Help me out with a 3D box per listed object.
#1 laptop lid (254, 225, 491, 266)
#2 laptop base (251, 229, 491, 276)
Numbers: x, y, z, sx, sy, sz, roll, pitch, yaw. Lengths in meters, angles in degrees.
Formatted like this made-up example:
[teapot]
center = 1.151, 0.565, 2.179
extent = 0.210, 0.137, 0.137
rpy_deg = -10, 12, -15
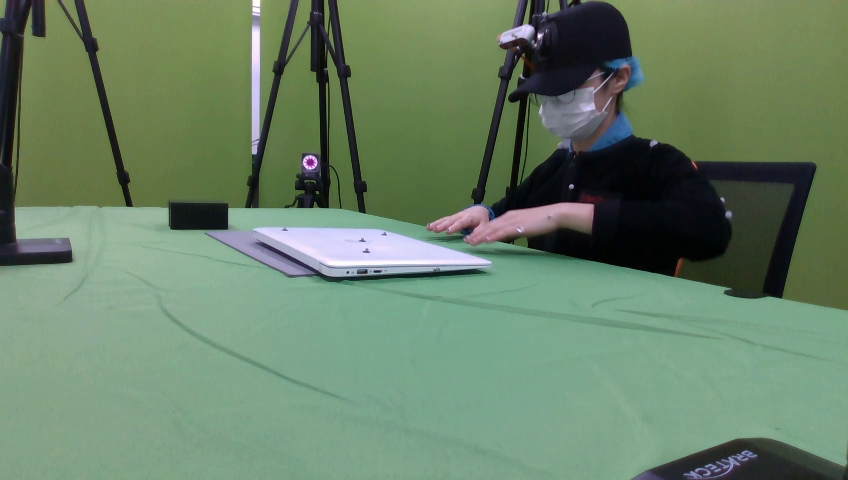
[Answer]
[laptop lid]
center = -0.092, 0.003, 0.888
extent = 0.243, 0.013, 0.355
rpy_deg = 1, 8, -29
[laptop base]
center = -0.095, 0.015, 0.889
extent = 0.237, 0.023, 0.352
rpy_deg = 2, 7, -30
